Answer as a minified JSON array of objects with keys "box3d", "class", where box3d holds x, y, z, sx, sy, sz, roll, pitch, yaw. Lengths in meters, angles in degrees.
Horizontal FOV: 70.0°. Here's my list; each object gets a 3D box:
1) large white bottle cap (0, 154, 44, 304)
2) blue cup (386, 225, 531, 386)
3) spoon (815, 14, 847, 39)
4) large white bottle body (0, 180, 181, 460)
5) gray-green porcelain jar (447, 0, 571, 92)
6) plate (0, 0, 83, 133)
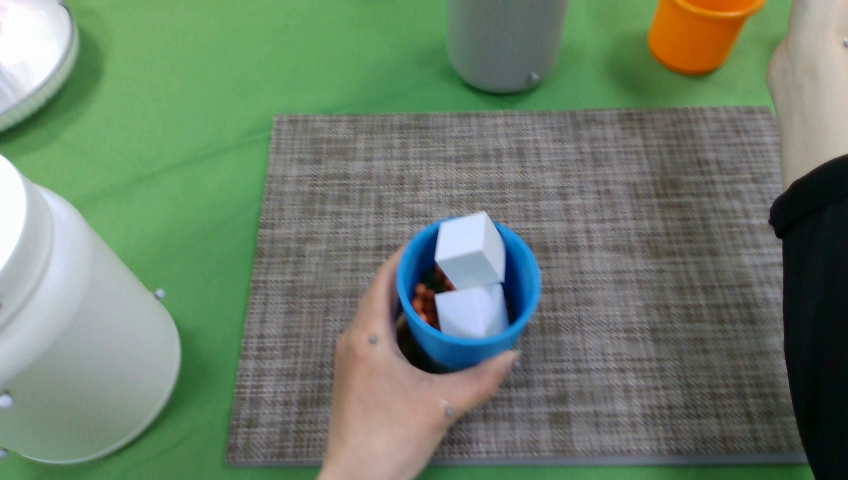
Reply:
[{"box3d":[-0.240,0.001,0.281,0.115,0.018,0.114,0,59,1],"class":"large white bottle cap"},{"box3d":[0.023,0.053,0.398,0.092,0.101,0.092,-1,60,2],"class":"blue cup"},{"box3d":[0.435,-0.196,0.511,0.041,0.022,0.192,-41,23,-20],"class":"spoon"},{"box3d":[-0.238,0.045,0.353,0.130,0.186,0.129,0,60,1],"class":"large white bottle body"},{"box3d":[0.073,-0.204,0.530,0.106,0.127,0.105,0,59,1],"class":"gray-green porcelain jar"},{"box3d":[-0.421,-0.164,0.563,0.208,0.039,0.206,0,60,1],"class":"plate"}]
